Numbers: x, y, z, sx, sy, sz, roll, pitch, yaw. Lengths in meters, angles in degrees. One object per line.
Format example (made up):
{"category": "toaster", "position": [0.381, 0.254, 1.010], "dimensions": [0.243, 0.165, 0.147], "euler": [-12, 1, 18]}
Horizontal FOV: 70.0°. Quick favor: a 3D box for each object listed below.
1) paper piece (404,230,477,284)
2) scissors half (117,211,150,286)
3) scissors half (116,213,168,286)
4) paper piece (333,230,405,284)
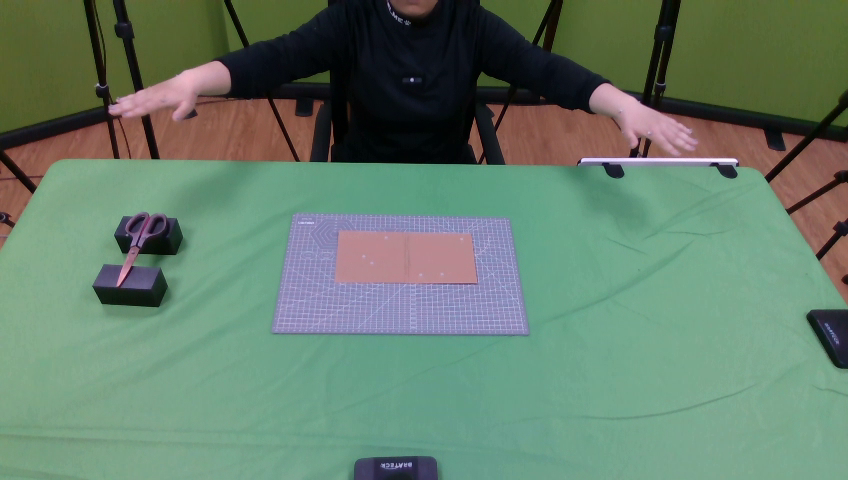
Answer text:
{"category": "paper piece", "position": [0.030, 0.033, 1.174], "dimensions": [0.138, 0.009, 0.135], "euler": [2, 49, -3]}
{"category": "scissors half", "position": [-0.524, 0.013, 1.080], "dimensions": [0.040, 0.013, 0.174], "euler": [1, 48, -11]}
{"category": "scissors half", "position": [-0.504, 0.015, 1.082], "dimensions": [0.040, 0.013, 0.174], "euler": [10, 48, 4]}
{"category": "paper piece", "position": [-0.104, 0.031, 1.165], "dimensions": [0.135, 0.004, 0.135], "euler": [2, 47, -4]}
